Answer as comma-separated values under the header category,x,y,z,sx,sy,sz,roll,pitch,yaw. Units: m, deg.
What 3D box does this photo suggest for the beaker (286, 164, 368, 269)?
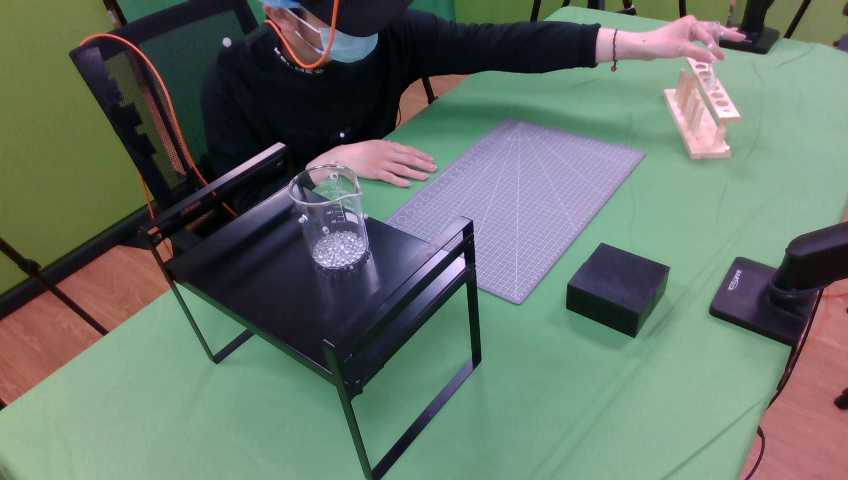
category,x,y,z,sx,sy,sz,roll,pitch,yaw
beaker,-0.101,-0.024,0.676,0.083,0.101,0.074,8,43,17

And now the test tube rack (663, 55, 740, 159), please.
category,x,y,z,sx,sy,sz,roll,pitch,yaw
test tube rack,0.518,-0.257,1.144,0.066,0.085,0.241,-1,41,8

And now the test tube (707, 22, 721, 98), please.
category,x,y,z,sx,sy,sz,roll,pitch,yaw
test tube,0.513,-0.312,1.072,0.017,0.151,0.017,-11,40,9
